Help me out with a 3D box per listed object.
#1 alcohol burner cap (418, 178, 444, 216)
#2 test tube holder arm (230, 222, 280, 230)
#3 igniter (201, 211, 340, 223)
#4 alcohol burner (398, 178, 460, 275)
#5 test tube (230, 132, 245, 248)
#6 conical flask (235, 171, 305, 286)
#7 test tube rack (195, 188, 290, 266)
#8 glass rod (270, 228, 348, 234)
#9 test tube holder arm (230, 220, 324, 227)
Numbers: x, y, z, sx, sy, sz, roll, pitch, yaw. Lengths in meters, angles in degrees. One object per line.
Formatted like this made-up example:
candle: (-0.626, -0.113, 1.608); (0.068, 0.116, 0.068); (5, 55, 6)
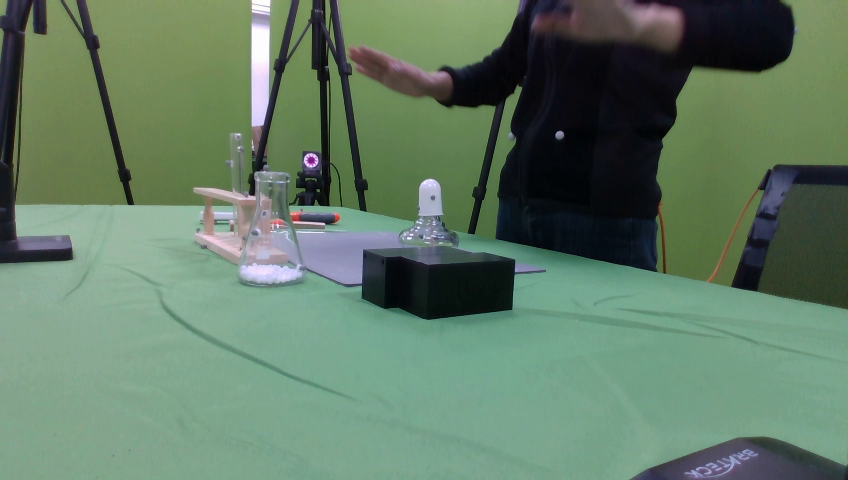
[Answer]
alcohol burner cap: (0.007, -0.053, 0.746); (0.034, 0.048, 0.034); (-3, 6, 1)
test tube holder arm: (-0.312, -0.025, 1.118); (0.088, 0.015, 0.010); (-1, 44, -30)
igniter: (-0.311, -0.047, 1.243); (0.278, 0.025, 0.057); (-1, -2, -24)
alcohol burner: (0.007, -0.017, 0.751); (0.078, 0.119, 0.078); (3, 9, 0)
test tube: (-0.242, -0.065, 0.789); (0.017, 0.150, 0.017); (-1, 7, 0)
conical flask: (-0.168, -0.014, 0.663); (0.075, 0.122, 0.075); (2, 7, 0)
test tube rack: (-0.266, -0.025, 0.864); (0.067, 0.085, 0.241); (-2, 9, -33)
glass rod: (-0.234, -0.017, 1.105); (0.201, 0.008, 0.008); (1, 7, -26)
test tube holder arm: (-0.275, -0.030, 1.145); (0.179, 0.015, 0.013); (-2, 45, -31)
